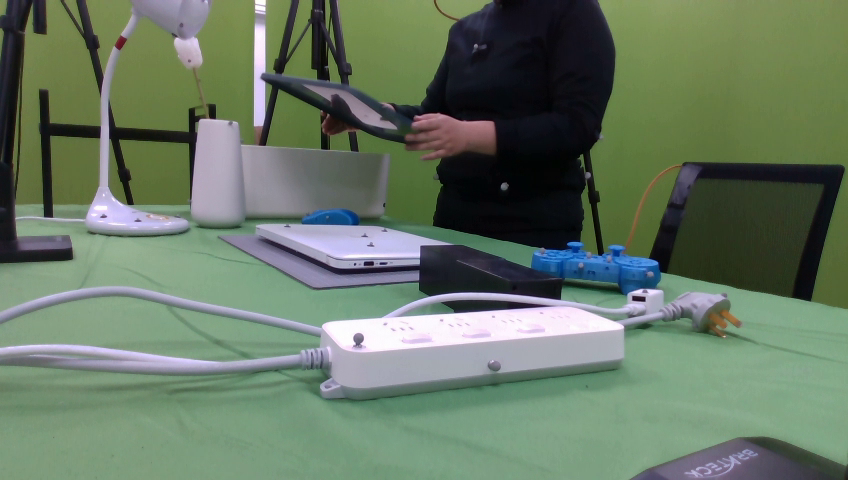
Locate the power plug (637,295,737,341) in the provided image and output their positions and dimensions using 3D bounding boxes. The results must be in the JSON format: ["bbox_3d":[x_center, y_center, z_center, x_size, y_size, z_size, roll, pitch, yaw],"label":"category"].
[{"bbox_3d":[0.234,0.077,0.535,0.072,0.035,0.052,-33,40,-6],"label":"power plug"}]

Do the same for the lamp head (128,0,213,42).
[{"bbox_3d":[-0.423,-0.394,0.980,0.123,0.112,0.112,20,7,-3],"label":"lamp head"}]

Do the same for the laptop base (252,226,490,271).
[{"bbox_3d":[-0.095,0.011,0.910,0.237,0.023,0.352,2,7,-32],"label":"laptop base"}]

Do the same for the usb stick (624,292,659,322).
[{"bbox_3d":[0.211,0.064,0.580,0.021,0.027,0.059,-2,-4,36],"label":"usb stick"}]

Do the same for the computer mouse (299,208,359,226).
[{"bbox_3d":[-0.194,-0.045,1.241,0.117,0.041,0.063,0,9,11],"label":"computer mouse"}]

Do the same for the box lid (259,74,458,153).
[{"bbox_3d":[-0.123,-0.249,1.221,0.262,0.015,0.373,18,1,37],"label":"box lid"}]

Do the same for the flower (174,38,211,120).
[{"bbox_3d":[-0.401,-0.207,1.141,0.038,0.361,0.044,-14,3,44],"label":"flower"}]

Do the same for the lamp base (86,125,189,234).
[{"bbox_3d":[-0.497,-0.105,1.027,0.179,0.180,0.160,1,7,3],"label":"lamp base"}]

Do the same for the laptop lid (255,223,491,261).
[{"bbox_3d":[-0.093,0.000,0.910,0.243,0.013,0.355,1,7,-30],"label":"laptop lid"}]

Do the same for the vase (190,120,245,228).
[{"bbox_3d":[-0.389,-0.124,1.142,0.098,0.200,0.098,3,9,0],"label":"vase"}]

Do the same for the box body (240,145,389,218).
[{"bbox_3d":[-0.297,-0.143,1.474,0.366,0.160,0.253,-1,9,-30],"label":"box body"}]

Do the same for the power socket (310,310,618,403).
[{"bbox_3d":[0.033,0.074,0.415,0.228,0.032,0.072,-1,8,-24],"label":"power socket"}]

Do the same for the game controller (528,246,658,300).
[{"bbox_3d":[0.202,0.036,0.733,0.155,0.051,0.097,5,10,20],"label":"game controller"}]
